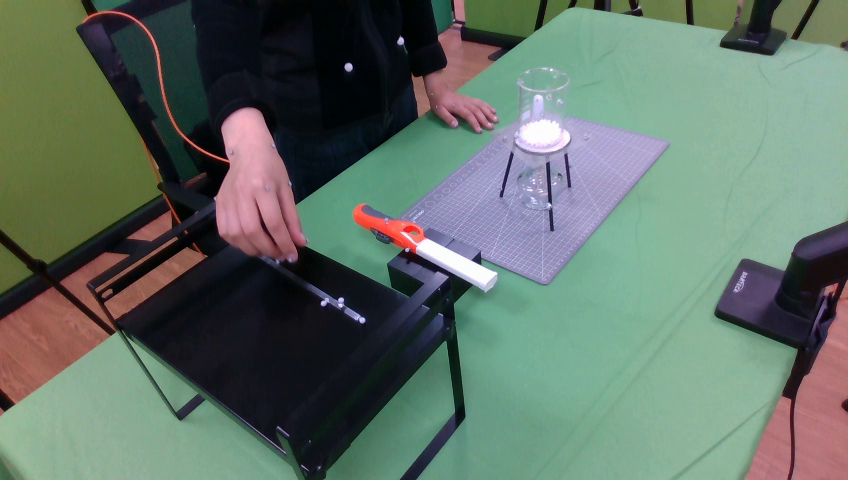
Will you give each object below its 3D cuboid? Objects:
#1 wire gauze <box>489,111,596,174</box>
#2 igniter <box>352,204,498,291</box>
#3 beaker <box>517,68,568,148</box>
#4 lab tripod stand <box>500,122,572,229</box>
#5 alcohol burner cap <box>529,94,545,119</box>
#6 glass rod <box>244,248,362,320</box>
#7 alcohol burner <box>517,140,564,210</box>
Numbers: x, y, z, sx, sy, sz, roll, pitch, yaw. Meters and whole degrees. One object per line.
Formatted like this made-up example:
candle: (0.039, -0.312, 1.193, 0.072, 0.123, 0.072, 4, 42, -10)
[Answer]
wire gauze: (0.183, -0.159, 0.943, 0.122, 0.011, 0.124, -25, 47, -17)
igniter: (-0.009, 0.005, 0.895, 0.274, 0.025, 0.057, 27, 48, 32)
beaker: (0.179, -0.198, 0.914, 0.073, 0.100, 0.084, 25, 49, 31)
lab tripod stand: (0.194, -0.110, 0.985, 0.148, 0.132, 0.147, -3, 42, 3)
alcohol burner cap: (0.233, -0.277, 1.247, 0.034, 0.048, 0.033, -5, 41, 5)
glass rod: (-0.140, 0.045, 0.674, 0.198, 0.008, 0.008, 25, 50, 33)
alcohol burner: (0.193, -0.110, 1.001, 0.078, 0.119, 0.077, -5, 38, 5)
